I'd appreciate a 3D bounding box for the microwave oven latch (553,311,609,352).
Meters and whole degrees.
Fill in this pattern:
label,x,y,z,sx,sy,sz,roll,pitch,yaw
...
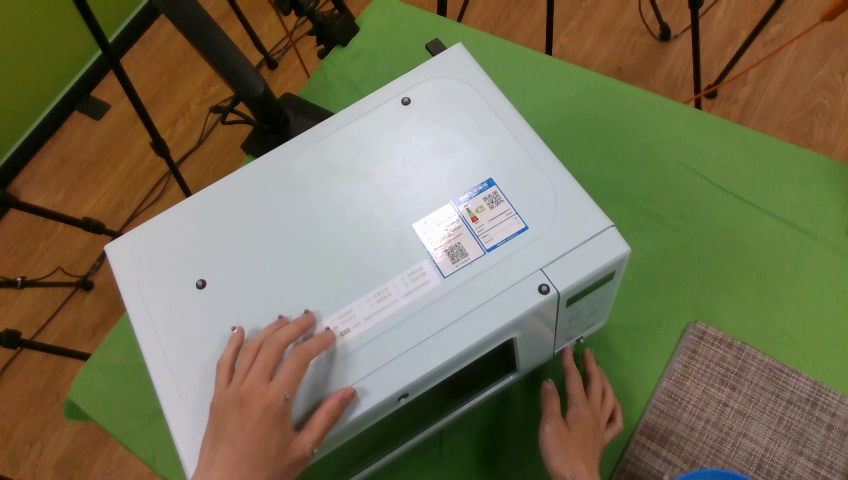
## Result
label,x,y,z,sx,sy,sz,roll,pitch,yaw
microwave oven latch,0.184,0.102,0.733,0.079,0.030,0.030,-31,65,-3

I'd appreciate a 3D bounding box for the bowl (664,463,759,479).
label,x,y,z,sx,sy,sz,roll,pitch,yaw
bowl,0.292,0.309,0.615,0.151,0.077,0.150,-4,65,9

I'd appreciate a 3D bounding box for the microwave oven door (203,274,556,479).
label,x,y,z,sx,sy,sz,roll,pitch,yaw
microwave oven door,-0.022,0.172,0.626,0.356,0.246,0.039,-31,64,-4

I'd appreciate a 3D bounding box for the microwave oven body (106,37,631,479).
label,x,y,z,sx,sy,sz,roll,pitch,yaw
microwave oven body,-0.057,0.042,0.695,0.442,0.262,0.323,-31,65,-4
